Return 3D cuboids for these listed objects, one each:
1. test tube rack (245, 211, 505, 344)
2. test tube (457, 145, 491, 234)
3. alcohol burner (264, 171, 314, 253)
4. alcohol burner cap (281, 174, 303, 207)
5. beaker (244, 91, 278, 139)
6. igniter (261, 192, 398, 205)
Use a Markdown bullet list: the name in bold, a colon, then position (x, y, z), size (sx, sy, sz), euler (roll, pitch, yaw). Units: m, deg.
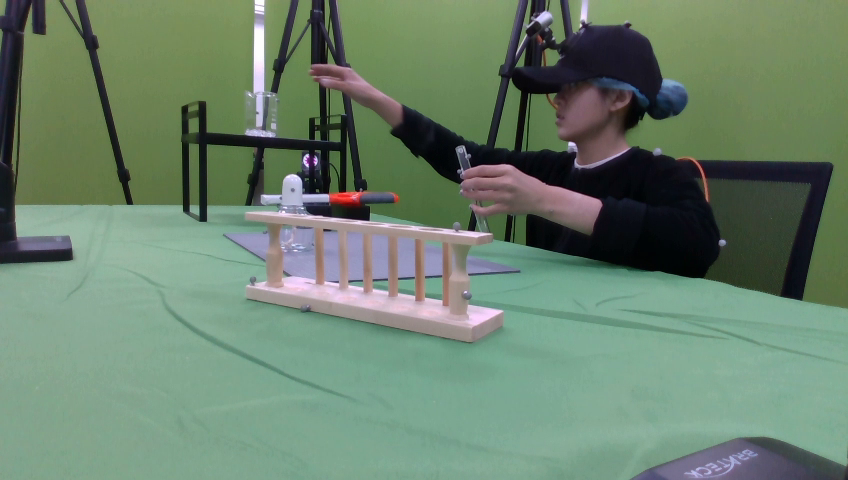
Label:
- **test tube rack**: position (-0.049, 0.025, 0.547), size (0.241, 0.085, 0.067), euler (7, 8, 29)
- **test tube**: position (0.077, -0.074, 0.931), size (0.017, 0.150, 0.017), euler (-16, -6, -1)
- **alcohol burner**: position (-0.194, -0.042, 0.888), size (0.078, 0.119, 0.078), euler (3, 5, 0)
- **alcohol burner cap**: position (-0.193, -0.072, 0.884), size (0.034, 0.048, 0.034), euler (1, 5, 0)
- **beaker**: position (-0.367, -0.280, 1.356), size (0.074, 0.100, 0.084), euler (4, 8, 6)
- **igniter**: position (-0.185, -0.083, 1.217), size (0.278, 0.025, 0.057), euler (-2, 12, -24)
